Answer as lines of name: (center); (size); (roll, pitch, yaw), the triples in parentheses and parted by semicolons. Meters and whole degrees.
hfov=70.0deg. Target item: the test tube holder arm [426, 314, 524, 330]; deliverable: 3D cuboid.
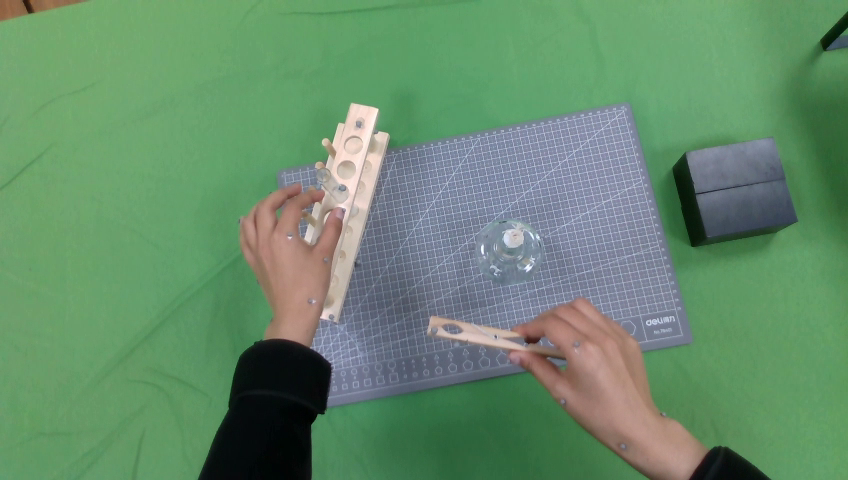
test tube holder arm: (0.046, 0.076, 0.541); (0.088, 0.015, 0.010); (4, 54, -3)

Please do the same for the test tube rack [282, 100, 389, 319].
test tube rack: (-0.110, -0.037, 0.707); (0.066, 0.085, 0.241); (13, 80, 8)

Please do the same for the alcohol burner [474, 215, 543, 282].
alcohol burner: (0.094, 0.005, 0.667); (0.078, 0.119, 0.077); (-1, 77, 4)

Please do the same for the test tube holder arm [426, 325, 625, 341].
test tube holder arm: (0.091, 0.083, 0.541); (0.179, 0.015, 0.013); (2, 55, -4)

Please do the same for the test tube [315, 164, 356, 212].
test tube: (-0.093, -0.053, 0.658); (0.017, 0.151, 0.017); (-1, 80, 4)
